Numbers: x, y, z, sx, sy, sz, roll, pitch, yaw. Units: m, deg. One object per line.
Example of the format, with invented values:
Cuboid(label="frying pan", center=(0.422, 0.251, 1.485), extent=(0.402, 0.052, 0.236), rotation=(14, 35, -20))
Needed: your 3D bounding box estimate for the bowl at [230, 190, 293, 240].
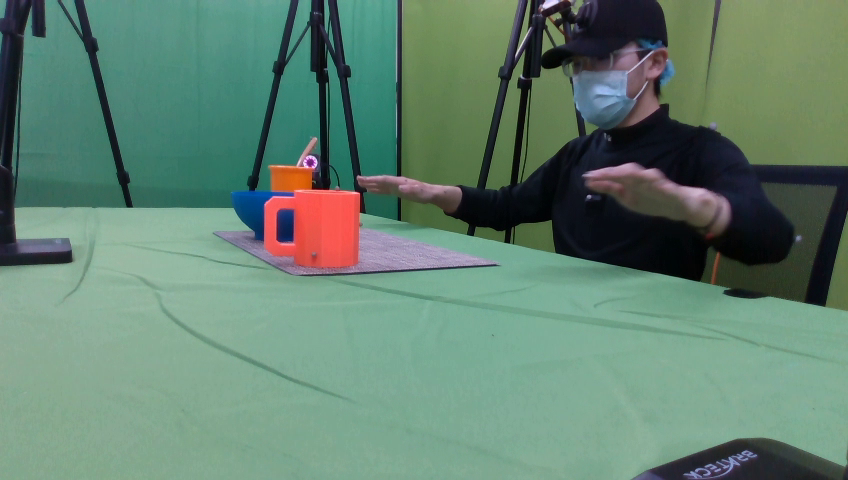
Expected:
Cuboid(label="bowl", center=(-0.249, -0.042, 1.023), extent=(0.151, 0.077, 0.151), rotation=(2, 7, 0))

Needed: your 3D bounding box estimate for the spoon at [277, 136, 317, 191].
Cuboid(label="spoon", center=(-0.258, -0.152, 1.247), extent=(0.041, 0.193, 0.022), rotation=(2, -37, 21))

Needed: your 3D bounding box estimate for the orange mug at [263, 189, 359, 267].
Cuboid(label="orange mug", center=(-0.147, -0.019, 0.795), extent=(0.127, 0.100, 0.083), rotation=(4, 6, -19))
